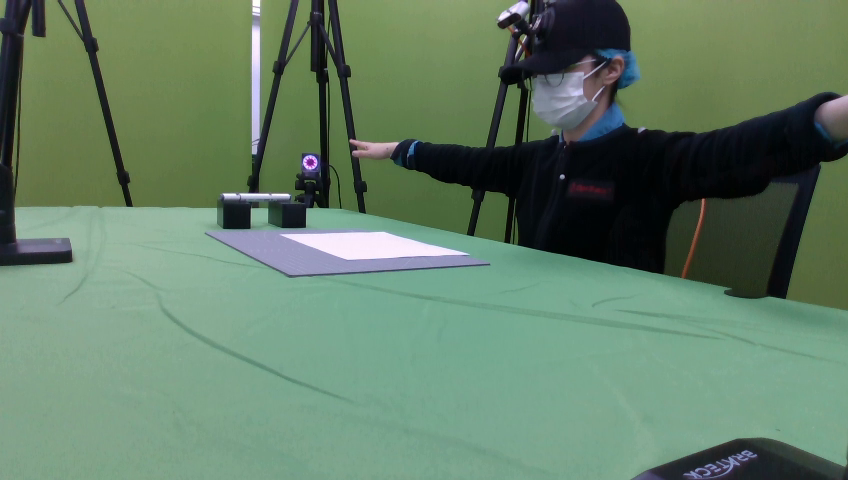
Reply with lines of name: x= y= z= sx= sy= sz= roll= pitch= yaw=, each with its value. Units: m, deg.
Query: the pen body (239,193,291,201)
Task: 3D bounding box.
pen body: x=-0.337 y=-0.088 z=1.236 sx=0.145 sy=0.017 sz=0.017 roll=-5 pitch=10 yaw=-43

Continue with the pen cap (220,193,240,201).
pen cap: x=-0.383 y=-0.085 z=1.194 sx=0.039 sy=0.017 sz=0.017 roll=-5 pitch=10 yaw=-44
